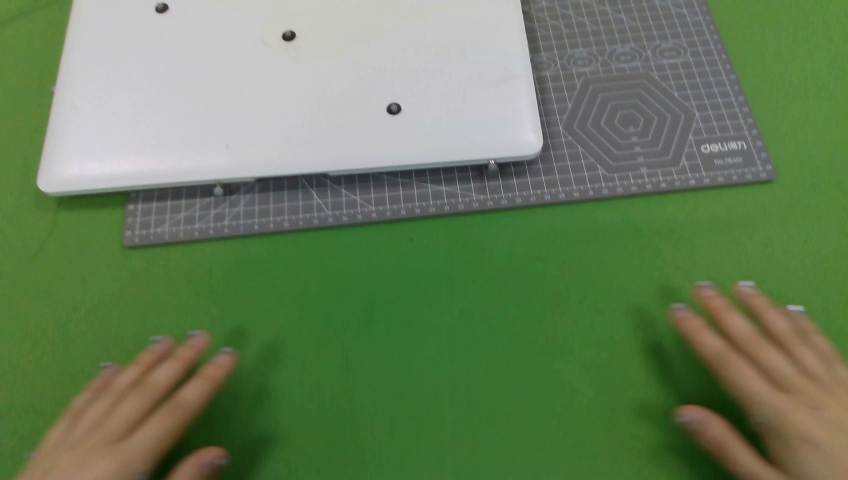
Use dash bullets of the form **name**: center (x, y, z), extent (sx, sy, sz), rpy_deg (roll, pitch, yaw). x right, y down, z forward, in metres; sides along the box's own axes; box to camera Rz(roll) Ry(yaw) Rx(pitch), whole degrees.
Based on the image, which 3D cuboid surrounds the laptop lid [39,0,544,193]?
- **laptop lid**: center (-0.099, -0.151, 0.459), extent (0.357, 0.013, 0.240), rpy_deg (-3, 67, 1)

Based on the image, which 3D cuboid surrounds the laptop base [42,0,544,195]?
- **laptop base**: center (-0.098, -0.147, 0.471), extent (0.354, 0.023, 0.233), rpy_deg (-4, 68, 0)
